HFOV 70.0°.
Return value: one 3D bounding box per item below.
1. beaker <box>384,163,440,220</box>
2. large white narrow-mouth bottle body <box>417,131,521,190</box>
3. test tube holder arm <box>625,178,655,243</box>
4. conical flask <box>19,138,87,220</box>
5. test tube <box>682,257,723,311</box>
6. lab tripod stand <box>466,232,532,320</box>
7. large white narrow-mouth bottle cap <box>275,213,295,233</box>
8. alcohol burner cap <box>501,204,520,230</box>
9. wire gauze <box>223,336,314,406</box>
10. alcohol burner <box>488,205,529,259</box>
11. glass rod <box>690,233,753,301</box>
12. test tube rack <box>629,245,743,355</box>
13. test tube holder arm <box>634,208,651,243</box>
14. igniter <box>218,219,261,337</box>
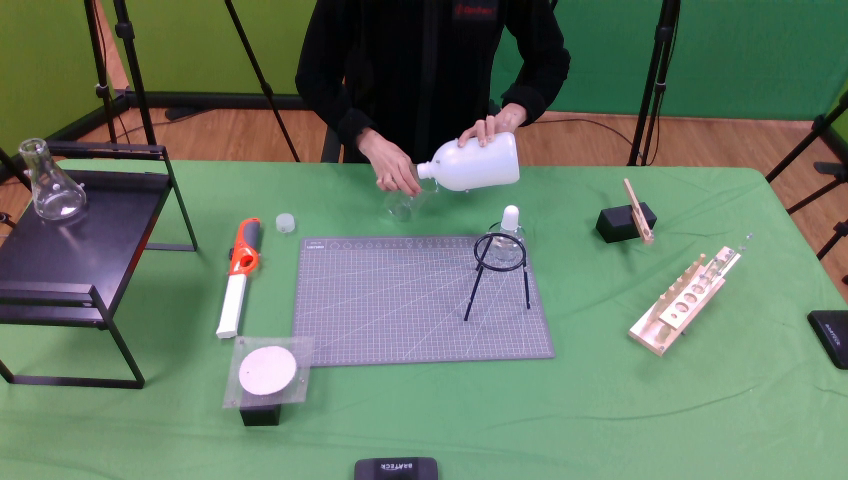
[{"bbox_3d":[-0.026,-0.094,1.222,0.084,0.100,0.073,33,39,-13],"label":"beaker"},{"bbox_3d":[0.084,-0.148,1.163,0.194,0.102,0.101,-8,45,8],"label":"large white narrow-mouth bottle body"},{"bbox_3d":[0.433,-0.062,1.220,0.013,0.015,0.177,1,47,-3],"label":"test tube holder arm"},{"bbox_3d":[-0.576,-0.097,0.930,0.075,0.122,0.075,2,46,-2],"label":"conical flask"},{"bbox_3d":[0.475,0.080,1.037,0.017,0.151,0.017,1,51,-1],"label":"test tube"},{"bbox_3d":[0.125,0.059,1.065,0.148,0.132,0.147,1,45,0],"label":"lab tripod stand"},{"bbox_3d":[-0.277,-0.034,1.213,0.038,0.024,0.037,3,46,-3],"label":"large white narrow-mouth bottle cap"},{"bbox_3d":[0.164,-0.046,1.133,0.034,0.048,0.033,2,40,-1],"label":"alcohol burner cap"},{"bbox_3d":[-0.237,0.197,0.931,0.121,0.011,0.124,1,45,-4],"label":"wire gauze"},{"bbox_3d":[0.163,-0.020,1.158,0.078,0.120,0.077,0,47,0],"label":"alcohol burner"},{"bbox_3d":[0.507,0.053,1.041,0.008,0.200,0.008,5,51,-6],"label":"glass rod"},{"bbox_3d":[0.474,0.095,1.091,0.242,0.085,0.066,-34,56,-31],"label":"test tube rack"},{"bbox_3d":[0.428,-0.030,1.189,0.010,0.015,0.087,1,47,-2],"label":"test tube holder arm"},{"bbox_3d":[-0.336,0.060,1.111,0.057,0.025,0.274,-8,46,3],"label":"igniter"}]
